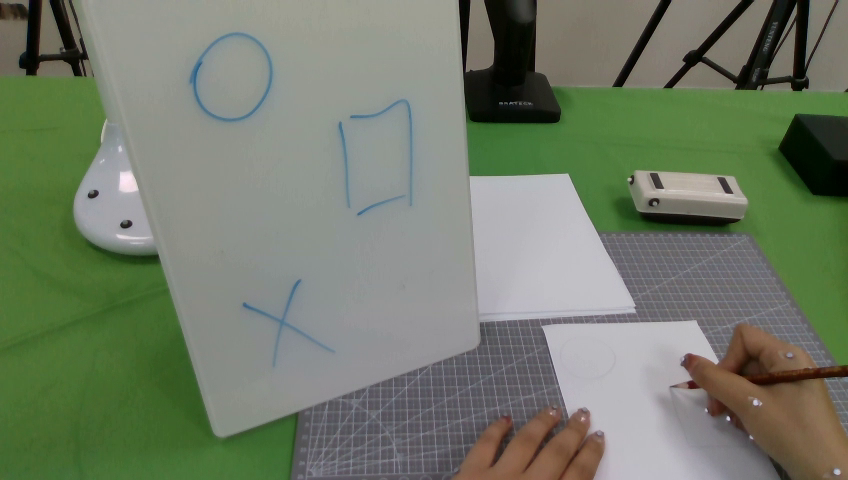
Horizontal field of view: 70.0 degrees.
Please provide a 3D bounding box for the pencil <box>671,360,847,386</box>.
[{"bbox_3d":[0.249,0.089,0.411,0.012,0.194,0.012,11,69,-29],"label":"pencil"}]

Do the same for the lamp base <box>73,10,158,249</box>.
[{"bbox_3d":[-0.272,-0.109,0.566,0.178,0.182,0.160,28,47,27],"label":"lamp base"}]

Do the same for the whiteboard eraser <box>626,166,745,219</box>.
[{"bbox_3d":[0.280,-0.050,0.654,0.113,0.042,0.055,4,43,0],"label":"whiteboard eraser"}]

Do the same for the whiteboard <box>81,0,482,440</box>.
[{"bbox_3d":[-0.091,-0.045,0.463,0.218,0.307,0.142,-15,26,-19],"label":"whiteboard"}]
